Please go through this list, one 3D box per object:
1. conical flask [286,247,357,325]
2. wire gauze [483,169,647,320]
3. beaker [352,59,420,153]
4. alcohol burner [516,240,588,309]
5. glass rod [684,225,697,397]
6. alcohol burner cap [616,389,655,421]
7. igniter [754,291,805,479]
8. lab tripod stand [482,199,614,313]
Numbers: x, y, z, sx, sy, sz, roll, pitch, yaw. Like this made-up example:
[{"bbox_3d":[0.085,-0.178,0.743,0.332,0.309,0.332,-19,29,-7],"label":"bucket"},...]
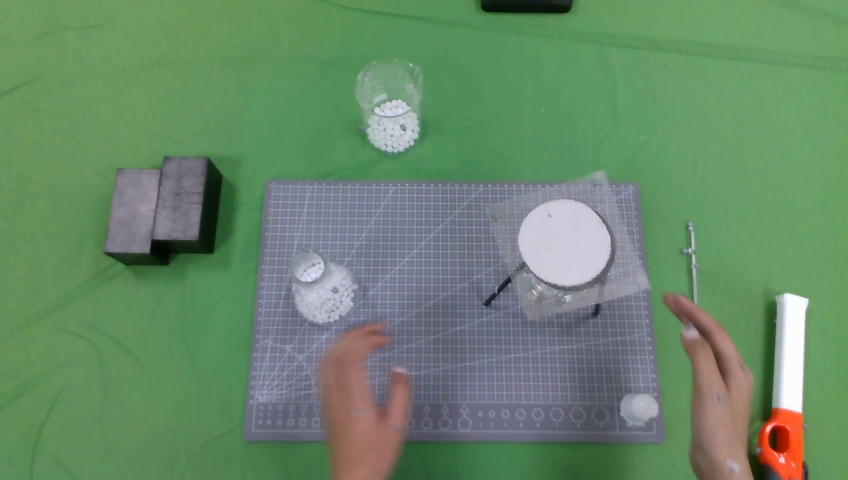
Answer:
[{"bbox_3d":[-0.112,0.043,0.633,0.075,0.122,0.075,0,73,0],"label":"conical flask"},{"bbox_3d":[0.132,0.003,0.572,0.125,0.011,0.120,-16,75,-4],"label":"wire gauze"},{"bbox_3d":[-0.039,-0.153,0.708,0.084,0.101,0.073,-39,77,-12],"label":"beaker"},{"bbox_3d":[0.140,0.033,0.644,0.078,0.119,0.077,1,73,-2],"label":"alcohol burner"},{"bbox_3d":[0.303,0.076,0.690,0.008,0.008,0.198,5,73,1],"label":"glass rod"},{"bbox_3d":[0.226,0.174,0.640,0.034,0.048,0.033,0,74,-1],"label":"alcohol burner cap"},{"bbox_3d":[0.382,0.190,0.648,0.057,0.025,0.275,15,74,-7],"label":"igniter"},{"bbox_3d":[0.133,0.025,0.636,0.148,0.132,0.147,0,75,0],"label":"lab tripod stand"}]
